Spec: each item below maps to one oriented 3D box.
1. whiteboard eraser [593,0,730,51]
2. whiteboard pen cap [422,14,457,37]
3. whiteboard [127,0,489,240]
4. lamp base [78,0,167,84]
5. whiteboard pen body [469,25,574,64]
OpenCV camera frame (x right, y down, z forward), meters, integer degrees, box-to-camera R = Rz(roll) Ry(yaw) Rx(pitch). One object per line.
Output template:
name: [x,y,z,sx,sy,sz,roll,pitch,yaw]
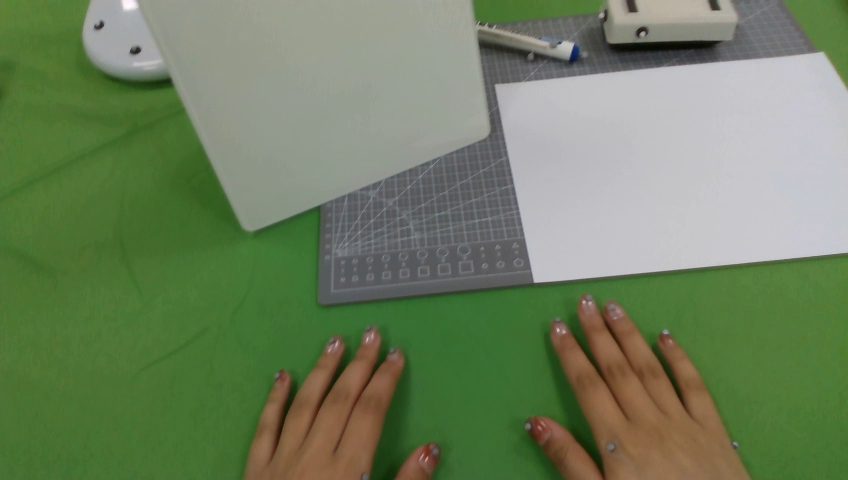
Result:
whiteboard eraser: [0.216,-0.201,0.558,0.112,0.042,0.055,-2,53,3]
whiteboard pen cap: [0.016,-0.206,0.582,0.033,0.018,0.018,16,57,9]
whiteboard: [-0.099,-0.194,0.452,0.217,0.308,0.142,-23,37,-11]
lamp base: [-0.280,-0.264,0.554,0.178,0.182,0.160,29,61,25]
whiteboard pen body: [0.071,-0.188,0.570,0.140,0.017,0.017,17,58,12]
